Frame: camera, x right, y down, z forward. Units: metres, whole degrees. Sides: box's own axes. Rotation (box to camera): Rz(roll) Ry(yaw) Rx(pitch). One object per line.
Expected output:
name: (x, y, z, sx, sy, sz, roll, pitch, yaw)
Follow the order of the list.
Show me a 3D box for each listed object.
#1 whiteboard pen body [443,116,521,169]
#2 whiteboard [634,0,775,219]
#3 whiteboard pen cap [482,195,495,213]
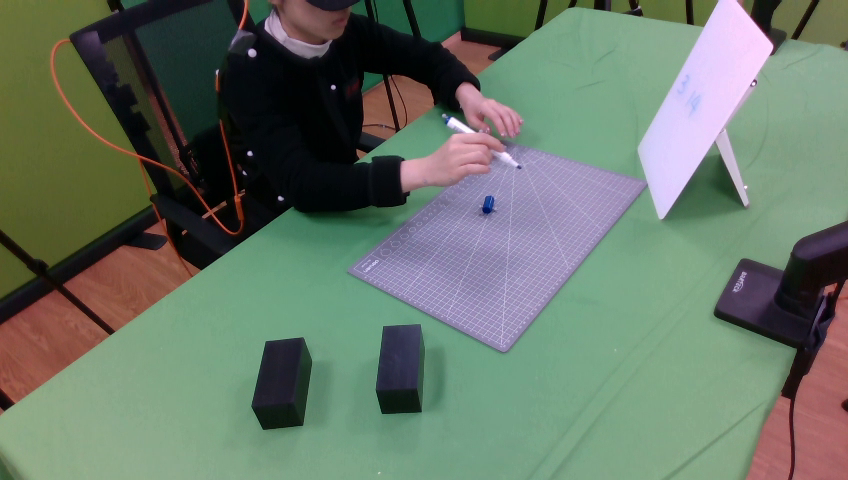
whiteboard pen body: (0.090, -0.149, 0.932, 0.141, 0.017, 0.017, 33, 49, 0)
whiteboard: (0.485, -0.192, 0.957, 0.144, 0.305, 0.216, 14, 41, -4)
whiteboard pen cap: (0.109, -0.061, 1.028, 0.018, 0.018, 0.033, 6, 45, 16)
